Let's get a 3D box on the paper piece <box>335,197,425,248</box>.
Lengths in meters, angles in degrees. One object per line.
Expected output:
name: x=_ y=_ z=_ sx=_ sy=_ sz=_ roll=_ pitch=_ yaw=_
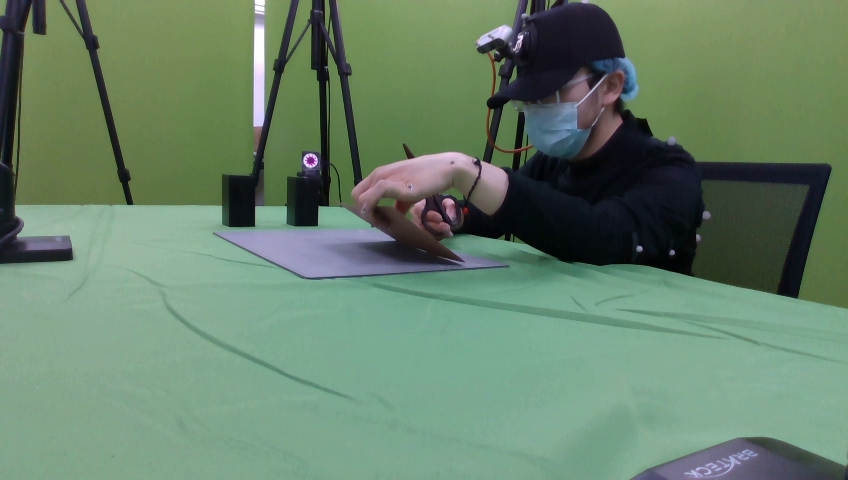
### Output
paper piece: x=-0.073 y=-0.028 z=0.971 sx=0.136 sy=0.004 sz=0.135 roll=33 pitch=-6 yaw=-23

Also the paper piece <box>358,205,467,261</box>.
paper piece: x=-0.019 y=-0.012 z=0.850 sx=0.136 sy=0.008 sz=0.137 roll=32 pitch=-9 yaw=-24

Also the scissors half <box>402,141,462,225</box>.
scissors half: x=0.013 y=-0.095 z=1.008 sx=0.040 sy=0.176 sz=0.013 roll=-44 pitch=26 yaw=-12

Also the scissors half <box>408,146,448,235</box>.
scissors half: x=-0.003 y=-0.085 z=1.003 sx=0.040 sy=0.175 sz=0.012 roll=-26 pitch=21 yaw=-14
